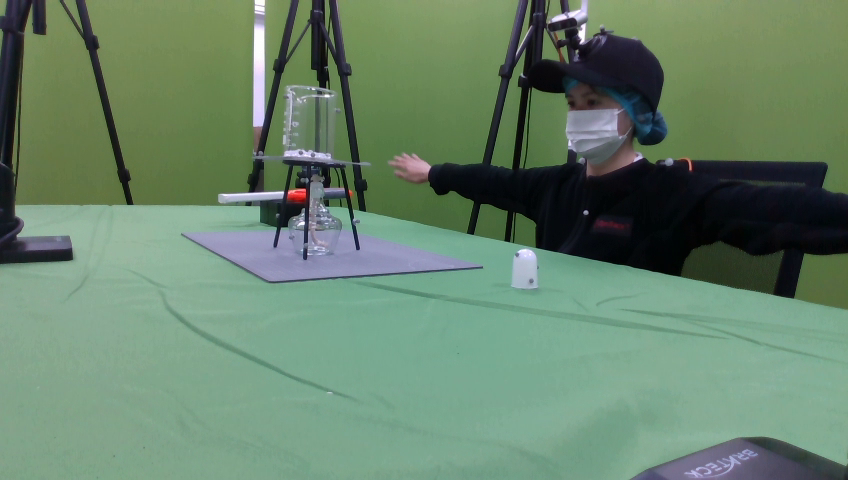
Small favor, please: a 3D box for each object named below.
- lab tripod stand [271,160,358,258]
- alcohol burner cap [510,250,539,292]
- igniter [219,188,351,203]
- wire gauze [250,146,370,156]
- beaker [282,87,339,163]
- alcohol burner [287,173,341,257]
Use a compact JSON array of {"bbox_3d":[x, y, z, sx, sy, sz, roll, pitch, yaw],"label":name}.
[{"bbox_3d":[-0.159,-0.048,0.876,0.148,0.131,0.148,3,5,0],"label":"lab tripod stand"},{"bbox_3d":[0.118,0.036,0.704,0.034,0.048,0.034,1,7,0],"label":"alcohol burner cap"},{"bbox_3d":[-0.280,-0.092,1.254,0.278,0.025,0.057,-6,10,-34],"label":"igniter"},{"bbox_3d":[-0.162,-0.128,0.868,0.124,0.011,0.122,2,7,32],"label":"wire gauze"},{"bbox_3d":[-0.164,-0.160,0.856,0.074,0.100,0.083,1,6,-37],"label":"beaker"},{"bbox_3d":[-0.158,-0.037,0.868,0.078,0.119,0.078,1,6,0],"label":"alcohol burner"}]
